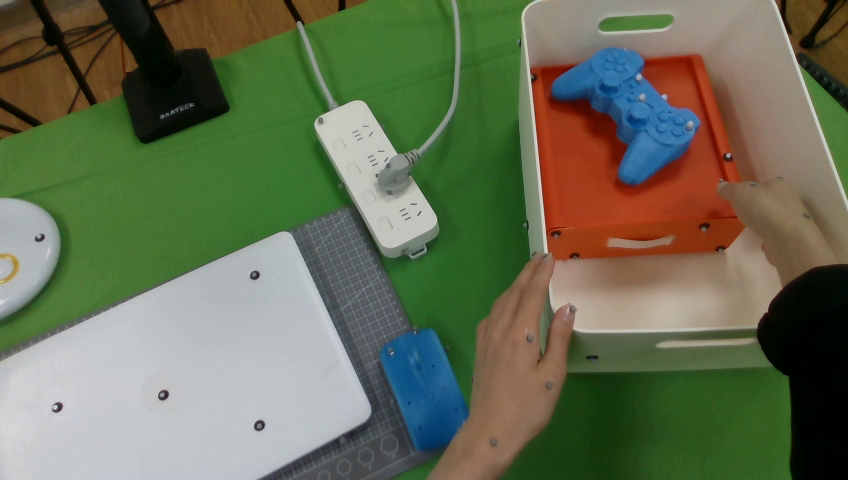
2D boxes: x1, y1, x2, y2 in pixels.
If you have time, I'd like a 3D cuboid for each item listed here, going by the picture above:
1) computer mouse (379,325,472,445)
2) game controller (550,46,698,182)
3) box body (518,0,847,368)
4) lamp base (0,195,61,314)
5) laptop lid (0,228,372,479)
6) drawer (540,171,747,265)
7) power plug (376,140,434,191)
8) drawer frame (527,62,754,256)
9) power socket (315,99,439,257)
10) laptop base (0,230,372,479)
[{"bbox_3d":[0.000,0.138,0.595,0.063,0.041,0.116,-21,60,-5],"label":"computer mouse"},{"bbox_3d":[0.211,-0.140,0.634,0.097,0.052,0.153,-24,64,-12],"label":"game controller"},{"bbox_3d":[0.230,-0.060,0.610,0.254,0.161,0.361,-2,63,3],"label":"box body"},{"bbox_3d":[-0.518,-0.021,0.633,0.178,0.182,0.160,20,66,17],"label":"lamp base"},{"bbox_3d":[-0.255,0.151,0.606,0.357,0.013,0.239,-24,67,-8],"label":"laptop lid"},{"bbox_3d":[0.220,-0.078,0.677,0.194,0.074,0.209,-4,53,4],"label":"drawer"},{"bbox_3d":[-0.018,-0.077,0.683,0.072,0.053,0.035,-16,62,-5],"label":"power plug"},{"bbox_3d":[0.216,-0.090,0.662,0.202,0.083,0.211,-3,57,1],"label":"drawer frame"},{"bbox_3d":[-0.058,-0.078,0.712,0.072,0.033,0.224,-26,64,-11],"label":"power socket"},{"bbox_3d":[-0.255,0.154,0.618,0.354,0.023,0.233,-26,68,-9],"label":"laptop base"}]
